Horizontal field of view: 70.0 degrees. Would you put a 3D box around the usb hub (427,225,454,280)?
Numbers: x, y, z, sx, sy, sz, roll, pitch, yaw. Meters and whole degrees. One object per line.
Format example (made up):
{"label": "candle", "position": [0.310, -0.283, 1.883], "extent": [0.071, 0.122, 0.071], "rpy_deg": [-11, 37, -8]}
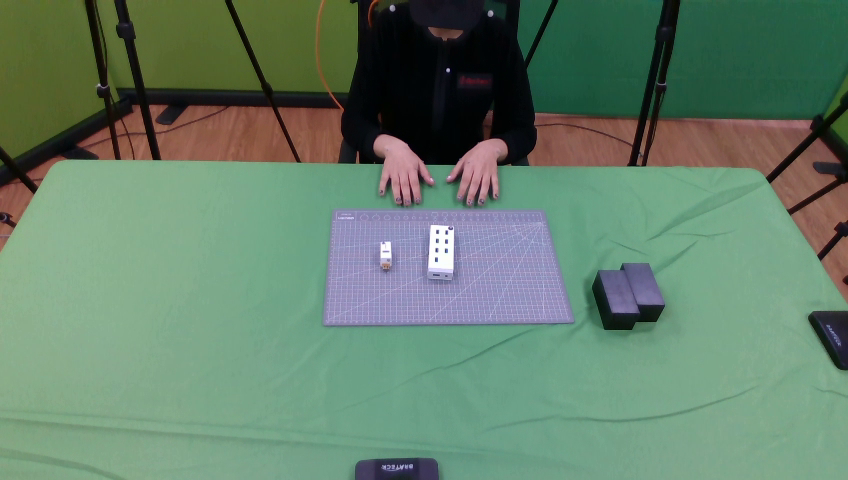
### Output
{"label": "usb hub", "position": [0.033, 0.022, 1.174], "extent": [0.049, 0.025, 0.124], "rpy_deg": [4, 46, 0]}

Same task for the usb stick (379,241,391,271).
{"label": "usb stick", "position": [-0.074, 0.031, 1.156], "extent": [0.021, 0.027, 0.059], "rpy_deg": [1, 49, -5]}
